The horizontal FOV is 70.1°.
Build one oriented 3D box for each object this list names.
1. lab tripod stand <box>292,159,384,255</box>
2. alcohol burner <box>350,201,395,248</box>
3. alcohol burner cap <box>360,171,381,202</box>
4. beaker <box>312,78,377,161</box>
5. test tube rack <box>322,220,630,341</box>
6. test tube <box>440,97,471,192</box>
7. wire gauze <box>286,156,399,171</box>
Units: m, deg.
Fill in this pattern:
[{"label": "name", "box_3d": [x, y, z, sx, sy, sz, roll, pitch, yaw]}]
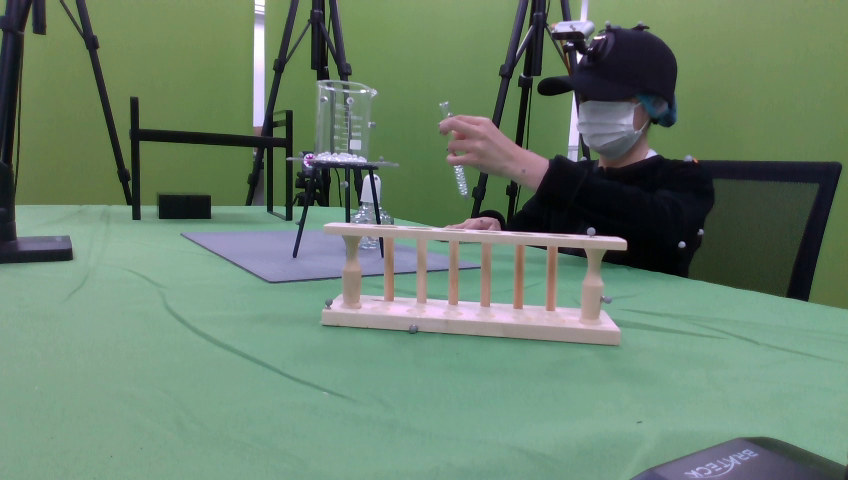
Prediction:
[{"label": "lab tripod stand", "box_3d": [-0.105, -0.039, 0.797, 0.148, 0.131, 0.148, 2, 5, 0]}, {"label": "alcohol burner", "box_3d": [-0.084, -0.048, 0.953, 0.078, 0.119, 0.078, 1, 6, 0]}, {"label": "alcohol burner cap", "box_3d": [-0.081, -0.084, 0.949, 0.034, 0.048, 0.034, 8, 8, -1]}, {"label": "beaker", "box_3d": [-0.103, -0.151, 0.775, 0.084, 0.100, 0.074, 5, 7, 14]}, {"label": "test tube rack", "box_3d": [0.041, 0.029, 0.512, 0.242, 0.085, 0.067, 3, 7, 5]}, {"label": "test tube", "box_3d": [0.049, -0.146, 0.938, 0.017, 0.150, 0.017, -14, 18, 5]}, {"label": "wire gauze", "box_3d": [-0.101, -0.103, 0.788, 0.121, 0.011, 0.125, 5, 4, 6]}]
